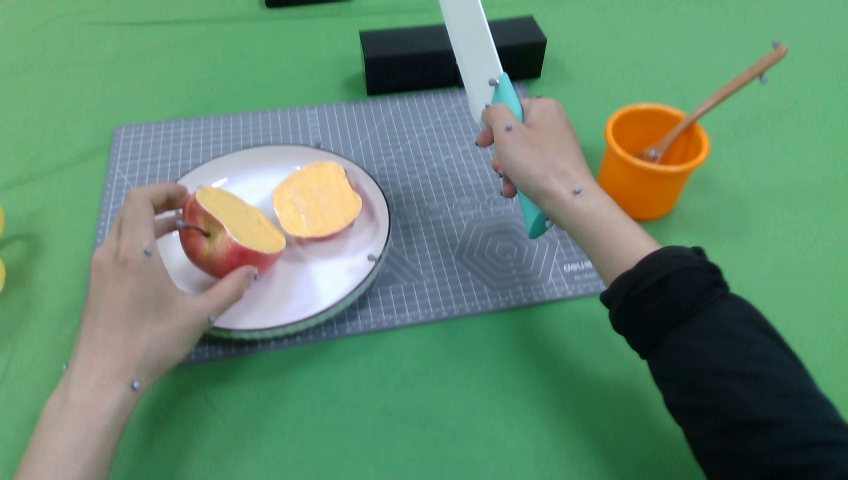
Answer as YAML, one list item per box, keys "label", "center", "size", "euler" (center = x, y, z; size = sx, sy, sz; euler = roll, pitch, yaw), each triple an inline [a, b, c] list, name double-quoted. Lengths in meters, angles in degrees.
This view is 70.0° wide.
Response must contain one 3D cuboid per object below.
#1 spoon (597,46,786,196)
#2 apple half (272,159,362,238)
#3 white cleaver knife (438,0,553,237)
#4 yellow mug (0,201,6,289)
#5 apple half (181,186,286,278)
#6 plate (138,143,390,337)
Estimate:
- label: "spoon"
  center: [0.241, -0.106, 0.554]
  size: [0.022, 0.194, 0.041]
  euler: [26, 32, -39]
- label: "apple half"
  center: [-0.095, -0.030, 0.543]
  size: [0.081, 0.033, 0.080]
  euler: [-1, 64, 3]
- label: "white cleaver knife"
  center: [0.053, -0.139, 0.520]
  size: [0.021, 0.066, 0.285]
  euler: [-10, 78, -24]
- label: "yellow mug"
  center: [-0.399, 0.010, 0.492]
  size: [0.099, 0.064, 0.130]
  euler: [19, 51, 13]
- label: "apple half"
  center: [-0.159, 0.000, 0.492]
  size: [0.080, 0.075, 0.053]
  euler: [41, 104, 8]
- label: "plate"
  center: [-0.133, -0.002, 0.525]
  size: [0.209, 0.038, 0.207]
  euler: [1, 51, -1]
